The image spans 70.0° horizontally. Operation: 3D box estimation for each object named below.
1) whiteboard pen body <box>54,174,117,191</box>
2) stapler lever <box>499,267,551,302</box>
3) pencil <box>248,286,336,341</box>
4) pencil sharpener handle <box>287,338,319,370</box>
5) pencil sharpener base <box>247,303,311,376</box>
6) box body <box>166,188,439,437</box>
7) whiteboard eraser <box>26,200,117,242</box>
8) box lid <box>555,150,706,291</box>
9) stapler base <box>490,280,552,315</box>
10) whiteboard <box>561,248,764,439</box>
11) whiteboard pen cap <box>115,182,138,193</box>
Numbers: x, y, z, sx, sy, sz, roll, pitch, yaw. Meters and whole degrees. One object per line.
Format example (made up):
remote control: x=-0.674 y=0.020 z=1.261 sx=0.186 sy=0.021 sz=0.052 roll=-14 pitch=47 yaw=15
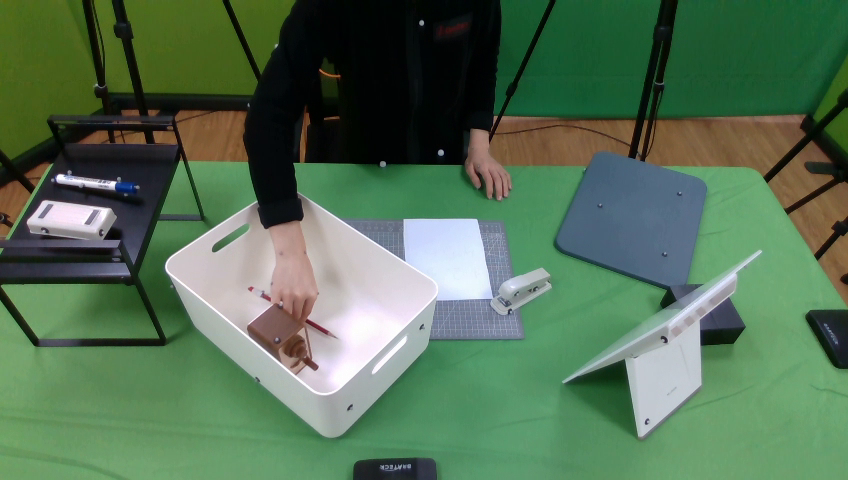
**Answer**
whiteboard pen body: x=-0.541 y=-0.093 z=0.993 sx=0.140 sy=0.017 sz=0.017 roll=7 pitch=46 yaw=9
stapler lever: x=0.185 y=0.076 z=1.101 sx=0.118 sy=0.040 sz=0.026 roll=-25 pitch=57 yaw=-29
pencil: x=-0.229 y=0.127 z=1.049 sx=0.193 sy=0.012 sz=0.012 roll=28 pitch=51 yaw=17
pencil sharpener handle: x=-0.182 y=0.178 z=0.928 sx=0.030 sy=0.068 sz=0.036 roll=32 pitch=69 yaw=23
pencil sharpener base: x=-0.225 y=0.165 z=0.955 sx=0.076 sy=0.107 sz=0.061 roll=32 pitch=54 yaw=23
box body: x=-0.190 y=0.108 z=0.980 sx=0.362 sy=0.161 sz=0.254 roll=32 pitch=52 yaw=24
whiteboard eraser: x=-0.532 y=-0.026 z=0.919 sx=0.113 sy=0.042 sz=0.055 roll=7 pitch=45 yaw=3
box lid: x=0.451 y=-0.059 z=1.297 sx=0.263 sy=0.015 sz=0.370 roll=20 pitch=49 yaw=14
stapler base: x=0.181 y=0.094 z=1.118 sx=0.130 sy=0.024 sz=0.041 roll=-24 pitch=57 yaw=-29
whiteboard: x=0.386 y=0.176 z=0.905 sx=0.217 sy=0.306 sz=0.143 roll=-26 pitch=72 yaw=-27
whiteboard pen cap: x=-0.483 y=-0.086 z=0.984 sx=0.033 sy=0.018 sz=0.018 roll=6 pitch=46 yaw=10
